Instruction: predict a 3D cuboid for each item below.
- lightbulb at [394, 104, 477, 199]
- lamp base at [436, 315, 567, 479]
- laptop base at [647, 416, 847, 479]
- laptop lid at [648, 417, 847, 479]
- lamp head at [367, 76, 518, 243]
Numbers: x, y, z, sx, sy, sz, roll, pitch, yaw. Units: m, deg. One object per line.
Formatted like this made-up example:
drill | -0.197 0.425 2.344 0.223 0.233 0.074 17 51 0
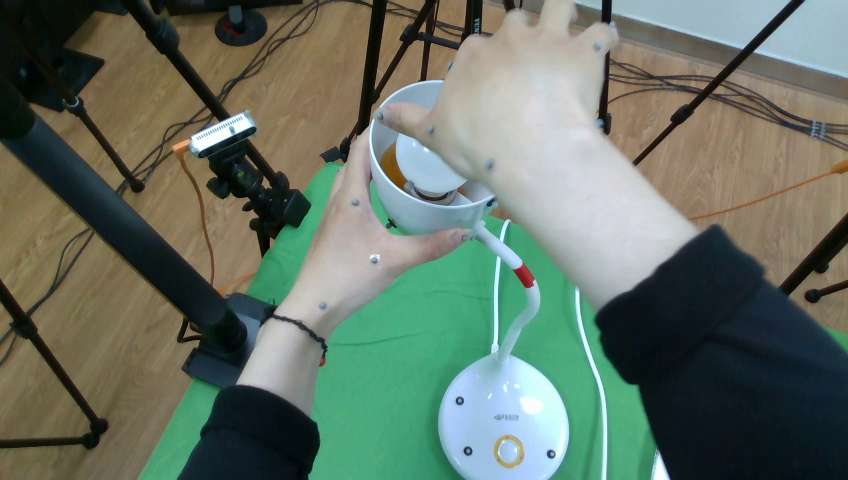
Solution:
lightbulb | 0.007 -0.059 0.456 0.059 0.108 0.059 1 72 -3
lamp base | 0.093 0.170 0.681 0.161 0.181 0.177 -9 59 -6
laptop base | 0.416 0.367 0.679 0.353 0.023 0.234 18 65 8
laptop lid | 0.415 0.363 0.667 0.356 0.013 0.240 20 64 9
lamp head | 0.011 -0.048 0.484 0.112 0.124 0.111 2 61 -2
